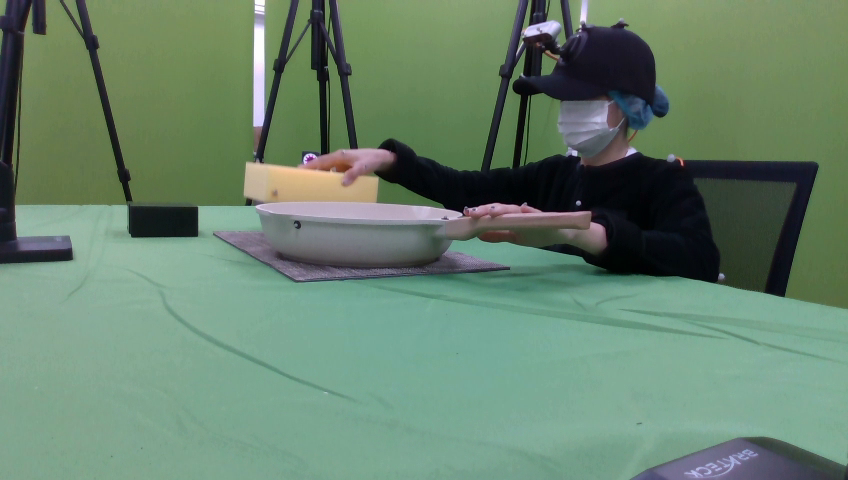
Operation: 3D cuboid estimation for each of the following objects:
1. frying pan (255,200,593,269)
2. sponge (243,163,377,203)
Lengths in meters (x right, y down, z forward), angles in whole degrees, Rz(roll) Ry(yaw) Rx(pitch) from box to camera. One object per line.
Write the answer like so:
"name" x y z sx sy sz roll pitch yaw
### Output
"frying pan" -0.011 -0.017 0.802 0.485 0.102 0.308 -2 4 39
"sponge" -0.201 -0.094 1.072 0.208 0.061 0.117 3 6 -34
